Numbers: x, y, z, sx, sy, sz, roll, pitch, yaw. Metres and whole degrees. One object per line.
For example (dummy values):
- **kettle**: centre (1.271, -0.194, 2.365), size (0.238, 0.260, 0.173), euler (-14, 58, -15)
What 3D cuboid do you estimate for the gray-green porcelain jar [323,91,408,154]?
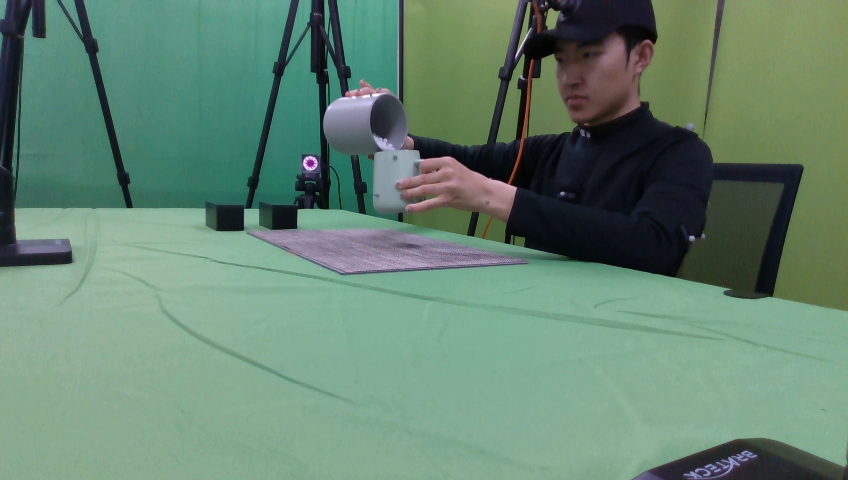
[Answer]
- **gray-green porcelain jar**: centre (-0.110, -0.209, 1.089), size (0.126, 0.106, 0.106), euler (4, 7, 38)

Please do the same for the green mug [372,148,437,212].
- **green mug**: centre (-0.031, -0.102, 1.034), size (0.125, 0.105, 0.093), euler (0, 5, 35)
